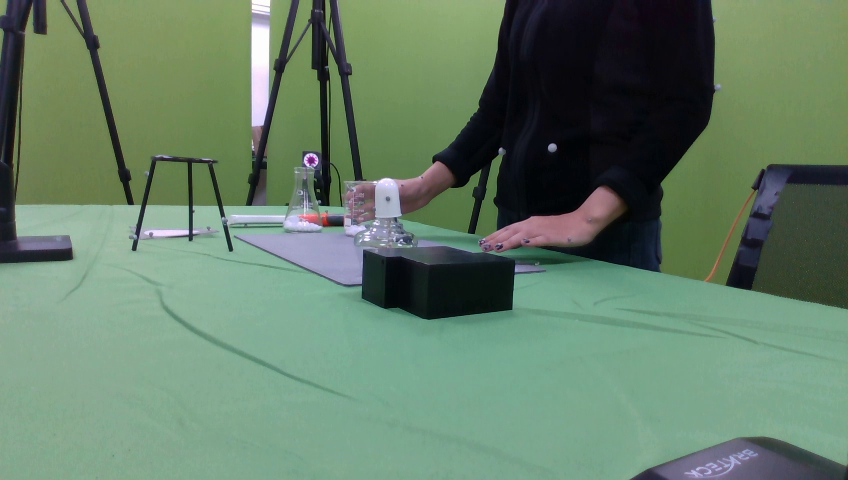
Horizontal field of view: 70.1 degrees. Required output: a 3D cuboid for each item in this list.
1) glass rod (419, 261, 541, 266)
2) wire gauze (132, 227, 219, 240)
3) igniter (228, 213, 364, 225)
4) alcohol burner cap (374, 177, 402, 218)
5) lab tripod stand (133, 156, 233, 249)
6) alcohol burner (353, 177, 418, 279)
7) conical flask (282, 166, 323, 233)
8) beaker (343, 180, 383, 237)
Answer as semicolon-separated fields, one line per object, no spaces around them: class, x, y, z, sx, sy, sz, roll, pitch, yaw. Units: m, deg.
glass rod;0.080;0.031;0.807;0.201;0.008;0.008;1;6;-32
wire gauze;-0.421;-0.014;1.024;0.122;0.011;0.124;-2;7;-34
igniter;-0.252;-0.043;1.227;0.278;0.025;0.057;-2;-3;-32
alcohol burner cap;-0.044;-0.049;0.704;0.034;0.048;0.034;-5;10;1
lab tripod stand;-0.342;-0.054;0.878;0.148;0.131;0.148;4;6;0
alcohol burner;-0.044;-0.014;0.710;0.078;0.119;0.078;4;9;0
conical flask;-0.225;-0.076;1.129;0.075;0.122;0.075;2;8;0
beaker;-0.111;-0.058;1.090;0.083;0.100;0.074;7;8;34
